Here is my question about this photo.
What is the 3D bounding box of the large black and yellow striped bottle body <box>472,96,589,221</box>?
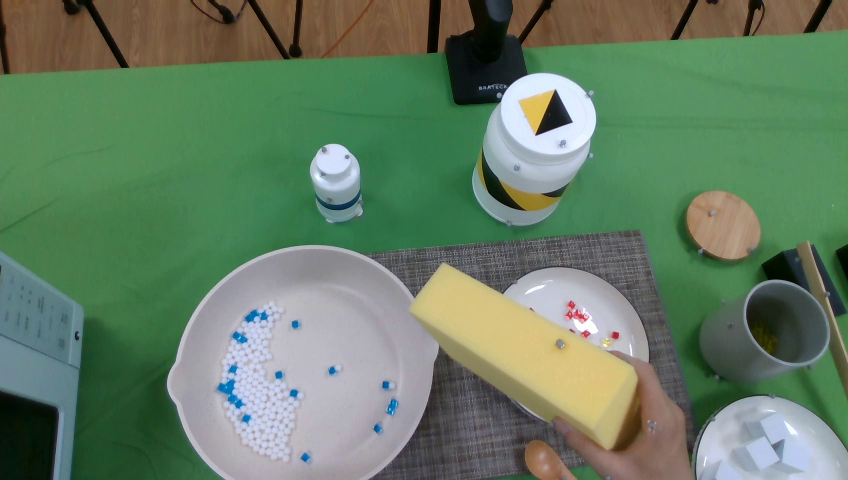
[{"bbox_3d":[0.138,-0.118,0.795,0.131,0.185,0.130,2,68,-4],"label":"large black and yellow striped bottle body"}]

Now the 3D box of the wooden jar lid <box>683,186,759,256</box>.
[{"bbox_3d":[0.424,-0.026,0.872,0.108,0.021,0.107,2,70,-4],"label":"wooden jar lid"}]

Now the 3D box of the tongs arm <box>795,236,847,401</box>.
[{"bbox_3d":[0.552,0.178,0.763,0.051,0.026,0.383,-9,80,-11],"label":"tongs arm"}]

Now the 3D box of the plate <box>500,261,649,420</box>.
[{"bbox_3d":[0.179,0.129,0.775,0.209,0.038,0.207,2,69,-4],"label":"plate"}]

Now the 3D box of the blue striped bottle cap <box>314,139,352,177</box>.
[{"bbox_3d":[-0.112,-0.101,0.743,0.044,0.021,0.044,1,66,-2],"label":"blue striped bottle cap"}]

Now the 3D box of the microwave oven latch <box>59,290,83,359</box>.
[{"bbox_3d":[-0.423,0.100,0.716,0.030,0.029,0.078,-3,69,-7],"label":"microwave oven latch"}]

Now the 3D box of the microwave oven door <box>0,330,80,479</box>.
[{"bbox_3d":[-0.393,0.264,0.544,0.039,0.245,0.353,-5,69,-6],"label":"microwave oven door"}]

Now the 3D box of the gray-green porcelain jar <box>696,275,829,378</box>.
[{"bbox_3d":[0.413,0.113,0.758,0.106,0.127,0.105,2,68,-4],"label":"gray-green porcelain jar"}]

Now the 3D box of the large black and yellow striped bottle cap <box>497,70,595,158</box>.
[{"bbox_3d":[0.144,-0.150,0.715,0.115,0.019,0.114,2,67,-3],"label":"large black and yellow striped bottle cap"}]

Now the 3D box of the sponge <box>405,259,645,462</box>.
[{"bbox_3d":[0.092,0.108,0.564,0.205,0.119,0.061,28,73,37],"label":"sponge"}]

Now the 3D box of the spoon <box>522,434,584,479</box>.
[{"bbox_3d":[0.197,0.297,0.719,0.193,0.022,0.041,34,51,7],"label":"spoon"}]

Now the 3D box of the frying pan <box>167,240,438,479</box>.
[{"bbox_3d":[-0.122,0.234,0.672,0.307,0.103,0.483,-7,61,-5],"label":"frying pan"}]

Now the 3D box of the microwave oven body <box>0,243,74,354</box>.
[{"bbox_3d":[-0.543,0.238,0.547,0.326,0.261,0.438,-4,69,-7],"label":"microwave oven body"}]

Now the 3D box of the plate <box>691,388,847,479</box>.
[{"bbox_3d":[0.423,0.287,0.738,0.208,0.039,0.206,2,68,-4],"label":"plate"}]

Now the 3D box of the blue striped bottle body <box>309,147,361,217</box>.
[{"bbox_3d":[-0.115,-0.082,0.791,0.063,0.121,0.062,2,68,-4],"label":"blue striped bottle body"}]
